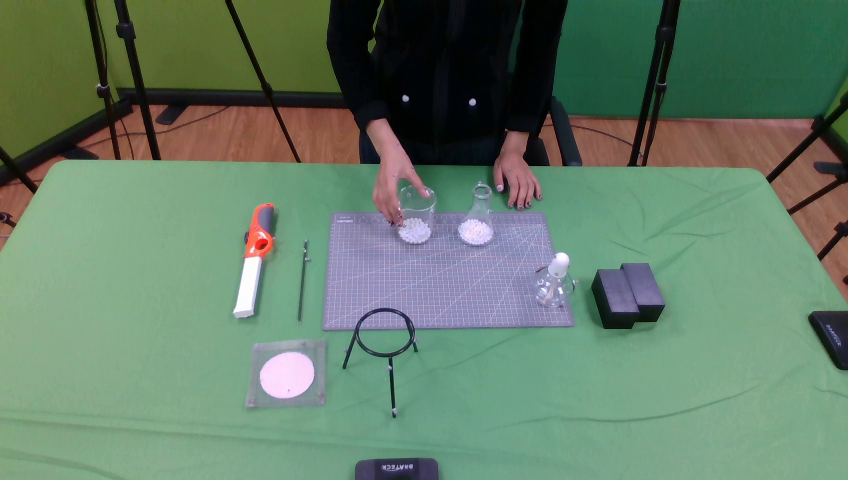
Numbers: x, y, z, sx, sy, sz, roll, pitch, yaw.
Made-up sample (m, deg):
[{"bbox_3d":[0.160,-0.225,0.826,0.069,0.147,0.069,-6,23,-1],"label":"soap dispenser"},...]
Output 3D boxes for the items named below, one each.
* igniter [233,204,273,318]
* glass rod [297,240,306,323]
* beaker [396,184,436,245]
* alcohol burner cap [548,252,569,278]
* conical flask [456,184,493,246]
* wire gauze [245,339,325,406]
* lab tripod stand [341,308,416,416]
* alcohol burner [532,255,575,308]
[{"bbox_3d":[-0.321,0.029,1.143,0.057,0.025,0.274,-7,46,4],"label":"igniter"},{"bbox_3d":[-0.226,0.072,1.122,0.008,0.008,0.198,-2,46,-5],"label":"glass rod"},{"bbox_3d":[-0.020,-0.045,1.182,0.084,0.101,0.073,-33,57,-32],"label":"beaker"},{"bbox_3d":[0.238,0.042,1.060,0.034,0.048,0.033,1,54,-1],"label":"alcohol burner cap"},{"bbox_3d":[0.106,-0.052,1.185,0.075,0.122,0.075,3,46,-2],"label":"conical flask"},{"bbox_3d":[-0.224,0.215,0.984,0.125,0.011,0.120,-2,46,-5],"label":"wire gauze"},{"bbox_3d":[-0.061,0.177,0.946,0.148,0.132,0.147,2,44,-2],"label":"lab tripod stand"},{"bbox_3d":[0.235,0.066,1.087,0.078,0.119,0.077,4,45,-3],"label":"alcohol burner"}]
